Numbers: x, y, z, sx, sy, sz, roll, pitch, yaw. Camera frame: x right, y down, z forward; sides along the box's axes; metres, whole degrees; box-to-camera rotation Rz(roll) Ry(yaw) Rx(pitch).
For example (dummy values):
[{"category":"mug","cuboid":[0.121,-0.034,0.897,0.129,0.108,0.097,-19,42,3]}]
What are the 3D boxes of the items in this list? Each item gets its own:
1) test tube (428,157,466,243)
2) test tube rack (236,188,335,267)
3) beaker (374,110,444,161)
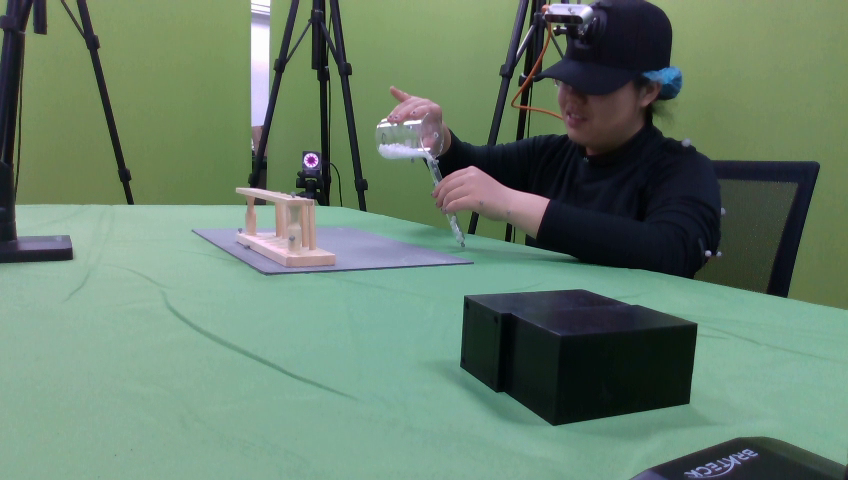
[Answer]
[{"category":"test tube","cuboid":[0.038,-0.065,0.994,0.017,0.150,0.017,-20,-6,-2]},{"category":"test tube rack","cuboid":[-0.202,-0.024,0.855,0.067,0.085,0.241,-2,8,-31]},{"category":"beaker","cuboid":[-0.026,-0.173,1.024,0.100,0.084,0.074,1,3,33]}]
